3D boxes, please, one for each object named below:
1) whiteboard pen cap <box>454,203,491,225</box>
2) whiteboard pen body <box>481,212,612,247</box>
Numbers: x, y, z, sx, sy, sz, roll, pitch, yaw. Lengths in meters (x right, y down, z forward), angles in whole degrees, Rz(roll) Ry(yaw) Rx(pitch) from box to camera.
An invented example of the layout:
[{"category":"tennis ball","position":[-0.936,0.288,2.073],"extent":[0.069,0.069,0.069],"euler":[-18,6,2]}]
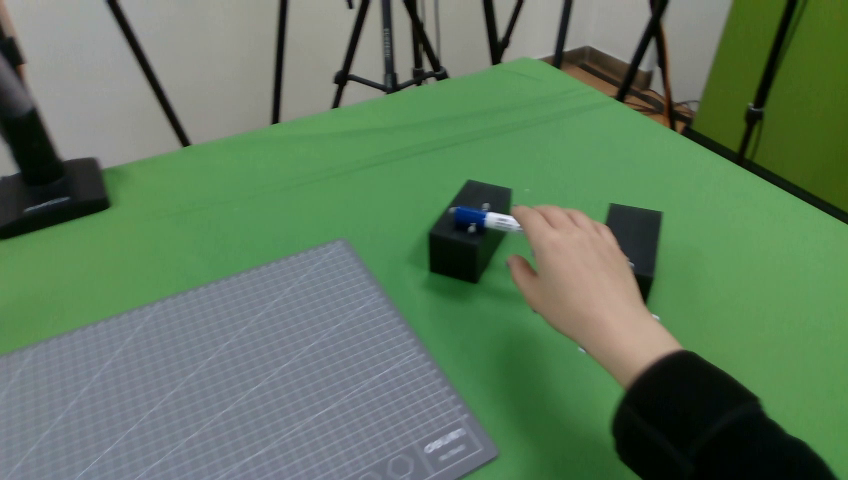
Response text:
[{"category":"whiteboard pen cap","position":[0.046,-0.024,0.572],"extent":[0.033,0.018,0.018],"euler":[12,41,17]},{"category":"whiteboard pen body","position":[0.101,-0.012,0.557],"extent":[0.140,0.017,0.017],"euler":[10,40,16]}]
